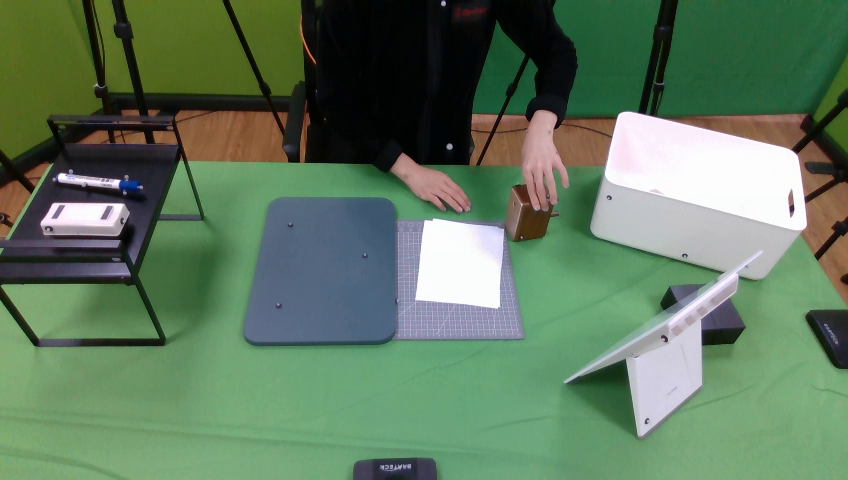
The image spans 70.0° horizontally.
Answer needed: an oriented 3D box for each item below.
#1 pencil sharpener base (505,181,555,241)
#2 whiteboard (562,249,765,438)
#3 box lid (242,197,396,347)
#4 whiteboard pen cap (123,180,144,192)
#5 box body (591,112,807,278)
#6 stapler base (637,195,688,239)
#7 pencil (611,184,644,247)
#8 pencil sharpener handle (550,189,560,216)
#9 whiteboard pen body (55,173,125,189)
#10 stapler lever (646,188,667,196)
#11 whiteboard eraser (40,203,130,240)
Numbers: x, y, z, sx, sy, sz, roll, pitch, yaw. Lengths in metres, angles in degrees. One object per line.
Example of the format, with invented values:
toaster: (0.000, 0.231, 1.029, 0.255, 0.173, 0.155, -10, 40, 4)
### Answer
pencil sharpener base: (0.212, -0.058, 1.210, 0.077, 0.107, 0.061, -9, 46, -13)
whiteboard: (0.386, 0.175, 0.905, 0.217, 0.306, 0.143, -26, 72, -26)
box lid: (-0.186, 0.046, 1.147, 0.263, 0.015, 0.369, 0, 46, -3)
whiteboard pen cap: (-0.479, -0.089, 0.993, 0.033, 0.018, 0.018, 7, 46, 14)
box body: (0.540, -0.092, 1.229, 0.363, 0.161, 0.253, 16, 47, 11)
stapler base: (0.507, -0.055, 1.280, 0.041, 0.024, 0.129, -14, 47, -19)
pencil: (0.430, -0.057, 1.286, 0.012, 0.012, 0.192, -2, 46, -7)
pencil sharpener handle: (0.262, -0.074, 1.213, 0.031, 0.068, 0.035, -9, 45, -13)
whiteboard pen body: (-0.539, -0.095, 0.998, 0.141, 0.017, 0.017, 6, 46, 6)
stapler lever: (0.507, -0.075, 1.263, 0.027, 0.040, 0.117, -14, 46, -19)
whiteboard eraser: (-0.513, -0.028, 0.922, 0.113, 0.042, 0.055, 1, 48, -3)
